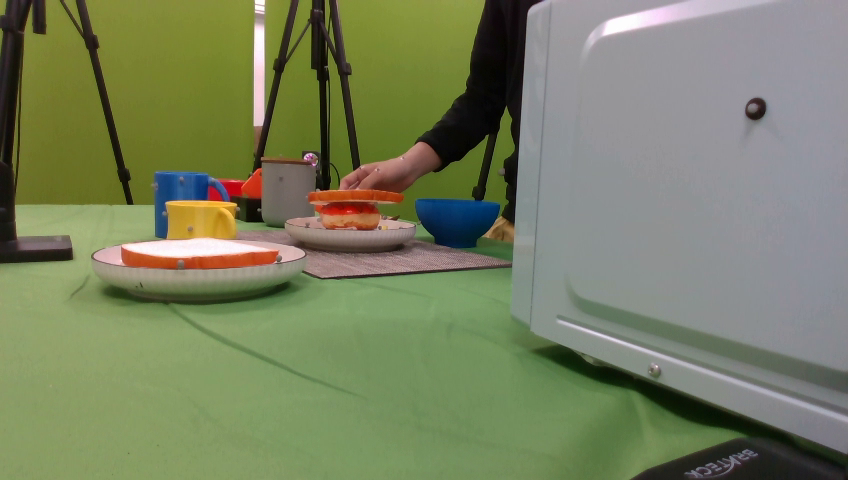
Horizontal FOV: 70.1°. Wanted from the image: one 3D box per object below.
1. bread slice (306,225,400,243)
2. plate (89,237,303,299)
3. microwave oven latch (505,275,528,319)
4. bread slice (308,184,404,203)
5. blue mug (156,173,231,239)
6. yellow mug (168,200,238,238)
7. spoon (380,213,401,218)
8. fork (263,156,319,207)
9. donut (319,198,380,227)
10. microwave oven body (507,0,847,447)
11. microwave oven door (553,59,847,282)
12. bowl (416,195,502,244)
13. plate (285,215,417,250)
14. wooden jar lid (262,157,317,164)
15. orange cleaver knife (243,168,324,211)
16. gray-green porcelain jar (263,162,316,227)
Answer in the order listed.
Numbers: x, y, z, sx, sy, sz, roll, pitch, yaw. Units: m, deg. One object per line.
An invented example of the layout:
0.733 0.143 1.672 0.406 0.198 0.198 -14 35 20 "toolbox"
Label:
-0.103 -0.010 0.961 0.131 0.019 0.105 2 8 24 "bread slice"
-0.233 0.029 0.637 0.208 0.039 0.207 2 7 0 "plate"
0.100 0.042 0.471 0.079 0.029 0.030 -1 7 -29 "microwave oven latch"
-0.114 -0.072 0.954 0.134 0.018 0.107 -3 -1 21 "bread slice"
-0.381 -0.057 1.004 0.117 0.106 0.082 0 8 -12 "blue mug"
-0.320 -0.023 0.904 0.130 0.064 0.100 9 10 36 "yellow mug"
-0.121 -0.060 1.400 0.042 0.021 0.192 -25 23 -38 "spoon"
-0.331 -0.144 1.506 0.207 0.018 0.028 -42 -21 22 "fork"
-0.118 -0.042 0.966 0.099 0.048 0.099 -12 -12 -2 "donut"
0.331 -0.042 0.425 0.444 0.260 0.324 -2 8 -31 "microwave oven body"
0.328 -0.092 0.780 0.039 0.243 0.354 -5 10 -42 "microwave oven door"
0.059 -0.035 1.049 0.151 0.077 0.151 2 7 0 "bowl"
-0.116 -0.014 0.964 0.209 0.038 0.209 2 8 0 "plate"
-0.269 -0.154 1.208 0.108 0.020 0.108 3 4 0 "wooden jar lid"
-0.300 -0.089 1.351 0.212 0.077 0.012 28 -9 -34 "orange cleaver knife"
-0.271 -0.092 1.217 0.106 0.126 0.106 2 7 0 "gray-green porcelain jar"
